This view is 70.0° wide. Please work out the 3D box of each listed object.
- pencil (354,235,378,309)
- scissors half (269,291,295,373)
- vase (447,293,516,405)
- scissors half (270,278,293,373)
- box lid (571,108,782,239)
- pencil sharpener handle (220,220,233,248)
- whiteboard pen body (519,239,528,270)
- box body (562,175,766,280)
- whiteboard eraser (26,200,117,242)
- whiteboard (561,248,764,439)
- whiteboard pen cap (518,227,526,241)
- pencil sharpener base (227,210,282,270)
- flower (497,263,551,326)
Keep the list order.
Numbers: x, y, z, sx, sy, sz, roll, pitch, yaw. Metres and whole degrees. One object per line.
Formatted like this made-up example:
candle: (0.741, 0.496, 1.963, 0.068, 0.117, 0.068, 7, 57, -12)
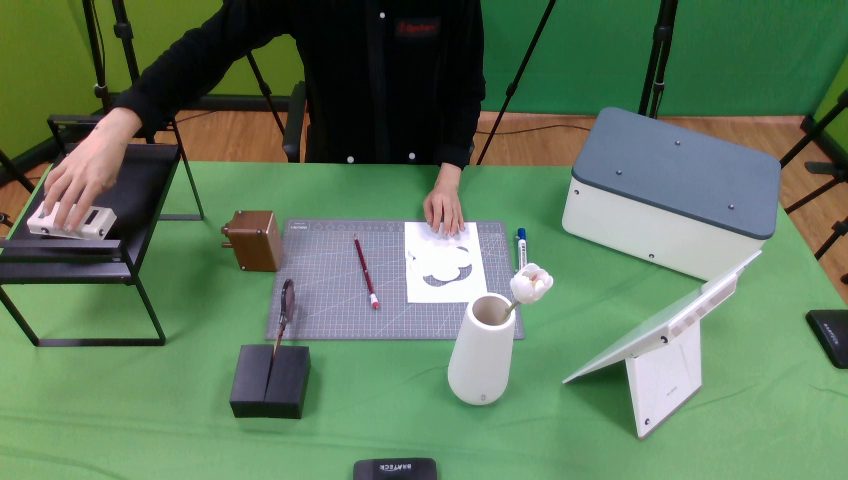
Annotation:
pencil: (-0.113, 0.055, 1.143, 0.012, 0.012, 0.192, -10, 46, -13)
scissors half: (-0.237, 0.151, 1.009, 0.013, 0.040, 0.174, 4, 38, 0)
vase: (0.091, 0.169, 0.921, 0.098, 0.201, 0.097, 3, 47, -3)
scissors half: (-0.236, 0.137, 0.994, 0.013, 0.040, 0.174, 0, 55, 3)
box lid: (0.491, -0.139, 1.168, 0.370, 0.015, 0.262, 20, 49, 15)
pencil sharpener handle: (-0.362, -0.009, 1.104, 0.030, 0.068, 0.036, 1, 51, 1)
whiteboard pen body: (0.193, 0.035, 1.181, 0.017, 0.017, 0.140, 6, 48, 1)
box body: (0.486, -0.088, 1.222, 0.363, 0.161, 0.253, 20, 48, 15)
whiteboard eraser: (-0.532, -0.026, 0.919, 0.113, 0.042, 0.055, 6, 45, 3)
whiteboard: (0.386, 0.176, 0.905, 0.217, 0.306, 0.143, -26, 72, -27)
whiteboard pen cap: (0.197, -0.009, 1.220, 0.018, 0.018, 0.033, 5, 50, 1)
pencil sharpener base: (-0.311, 0.001, 1.111, 0.077, 0.107, 0.061, 1, 47, 1)
flower: (0.102, 0.121, 0.852, 0.044, 0.363, 0.038, -1, 64, -10)
